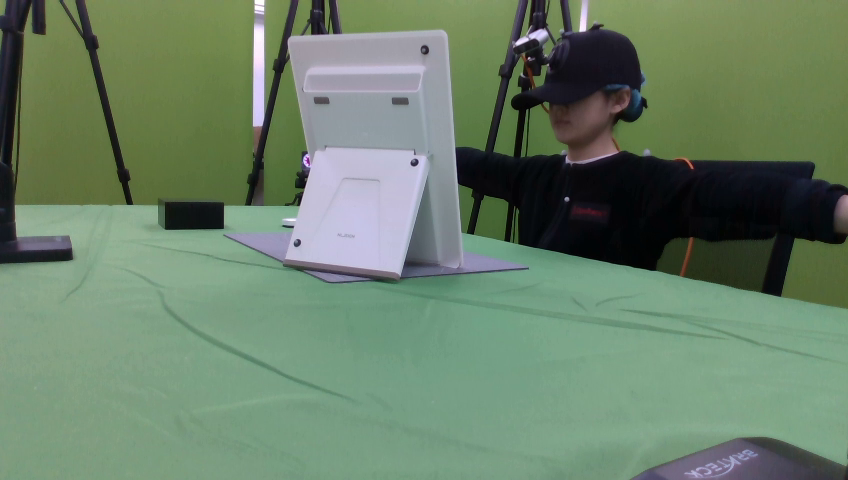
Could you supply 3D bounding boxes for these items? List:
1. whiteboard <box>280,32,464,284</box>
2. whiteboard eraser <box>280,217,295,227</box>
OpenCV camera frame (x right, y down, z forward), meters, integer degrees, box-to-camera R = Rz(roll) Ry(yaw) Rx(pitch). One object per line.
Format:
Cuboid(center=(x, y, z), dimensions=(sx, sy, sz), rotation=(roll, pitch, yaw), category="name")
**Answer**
Cuboid(center=(-0.087, -0.080, 0.728), dimensions=(0.216, 0.305, 0.144), rotation=(7, 28, 24), category="whiteboard")
Cuboid(center=(-0.242, -0.036, 1.228), dimensions=(0.102, 0.019, 0.041), rotation=(0, 7, -33), category="whiteboard eraser")
